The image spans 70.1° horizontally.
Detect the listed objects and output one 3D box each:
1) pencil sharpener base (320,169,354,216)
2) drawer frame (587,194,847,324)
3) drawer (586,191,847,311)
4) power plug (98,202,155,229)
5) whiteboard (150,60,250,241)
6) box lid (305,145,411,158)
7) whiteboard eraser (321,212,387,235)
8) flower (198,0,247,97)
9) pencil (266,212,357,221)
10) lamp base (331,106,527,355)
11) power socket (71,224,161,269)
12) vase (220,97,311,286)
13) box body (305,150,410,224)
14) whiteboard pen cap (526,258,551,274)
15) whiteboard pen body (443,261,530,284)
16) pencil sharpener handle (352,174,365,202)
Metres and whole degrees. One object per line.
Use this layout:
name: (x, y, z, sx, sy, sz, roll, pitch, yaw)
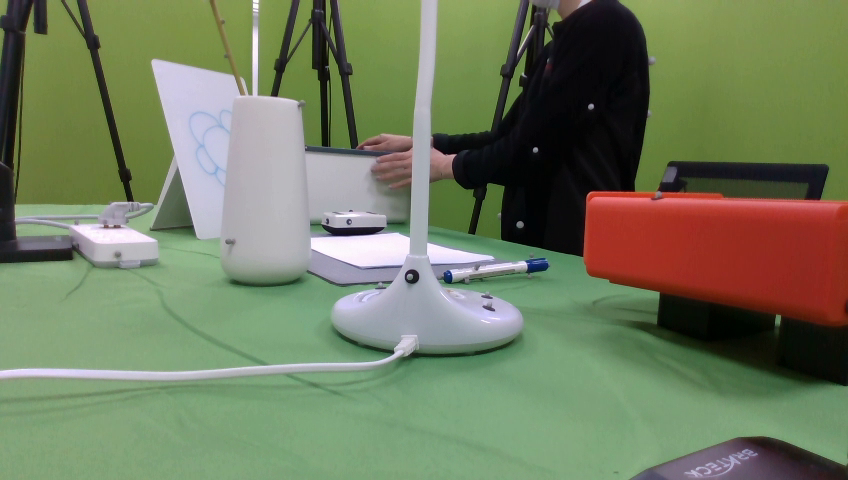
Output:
pencil sharpener base: (-0.207, -0.113, 1.439, 0.077, 0.107, 0.061, 1, 6, -11)
drawer frame: (0.285, 0.004, 0.509, 0.203, 0.082, 0.212, -1, 6, -29)
drawer: (0.281, 0.001, 0.513, 0.195, 0.073, 0.210, -1, 8, -29)
power plug: (-0.416, -0.027, 0.848, 0.073, 0.052, 0.035, 0, 8, -28)
whiteboard: (-0.408, -0.139, 1.093, 0.143, 0.305, 0.218, -15, -1, 26)
box lid: (-0.228, -0.200, 1.362, 0.373, 0.015, 0.262, -1, 8, -33)
whiteboard eraser: (-0.128, -0.031, 1.108, 0.113, 0.042, 0.055, -3, 7, -38)
flower: (-0.187, -0.133, 0.648, 0.038, 0.362, 0.044, 0, 22, 43)
pencil: (-0.244, -0.049, 1.319, 0.195, 0.012, 0.012, 3, 7, -12)
lamp base: (0.006, -0.012, 0.478, 0.161, 0.180, 0.179, 2, 10, 2)
power socket: (-0.408, 0.004, 0.793, 0.072, 0.032, 0.225, -2, 8, -38)
vase: (-0.172, -0.052, 0.662, 0.098, 0.200, 0.098, 3, 8, 0)
box body: (-0.230, -0.126, 1.372, 0.366, 0.160, 0.253, -2, 9, -33)
whiteboard pen cap: (0.141, 0.033, 0.759, 0.033, 0.018, 0.018, -8, 11, -26)
whiteboard pen body: (0.087, 0.037, 0.734, 0.141, 0.017, 0.017, -6, 10, -27)
pencil sharpener handle: (-0.156, -0.125, 1.450, 0.031, 0.068, 0.036, 1, 20, -10)
